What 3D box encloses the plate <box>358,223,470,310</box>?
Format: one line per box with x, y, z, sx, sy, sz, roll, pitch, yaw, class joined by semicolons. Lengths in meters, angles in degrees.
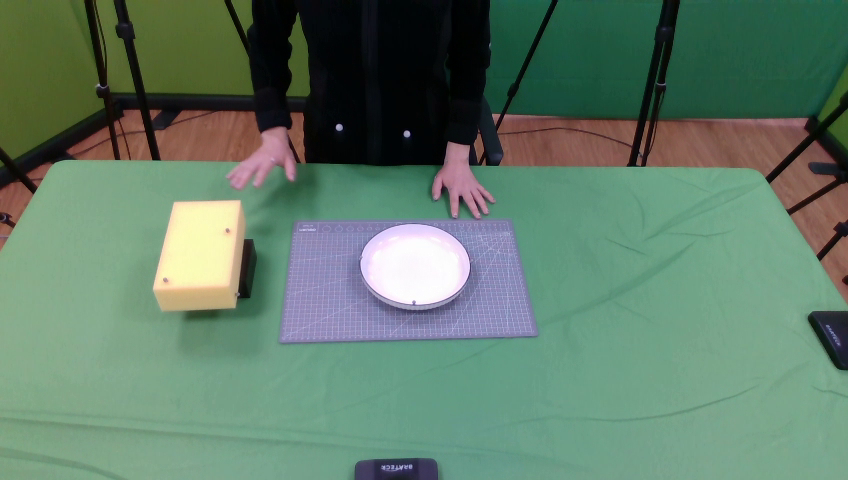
-0.019;0.052;1.132;0.209;0.038;0.208;2;46;-2;plate

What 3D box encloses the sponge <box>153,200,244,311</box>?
-0.384;0.022;1.051;0.118;0.061;0.205;-3;47;-7;sponge
